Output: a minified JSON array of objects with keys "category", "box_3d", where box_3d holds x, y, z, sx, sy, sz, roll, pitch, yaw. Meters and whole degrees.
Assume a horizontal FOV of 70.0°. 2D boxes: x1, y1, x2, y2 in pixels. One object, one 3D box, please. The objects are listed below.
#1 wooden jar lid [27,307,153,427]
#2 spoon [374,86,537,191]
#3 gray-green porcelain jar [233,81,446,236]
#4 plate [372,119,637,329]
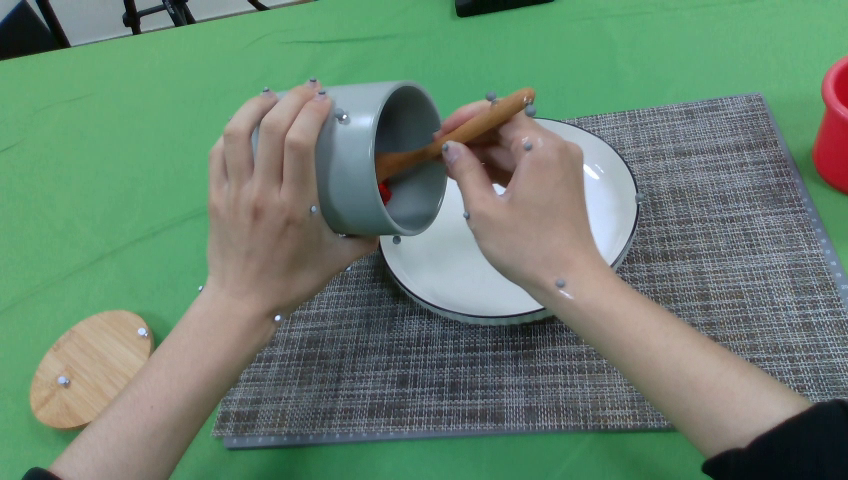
[{"category":"wooden jar lid","box_3d":[-0.276,0.106,0.509,0.108,0.021,0.107,-7,52,9]},{"category":"spoon","box_3d":[0.004,-0.062,0.405,0.193,0.022,0.041,-17,59,48]},{"category":"gray-green porcelain jar","box_3d":[-0.063,-0.058,0.439,0.126,0.107,0.105,4,54,27]},{"category":"plate","box_3d":[0.062,-0.015,0.492,0.207,0.039,0.205,-8,51,10]}]
